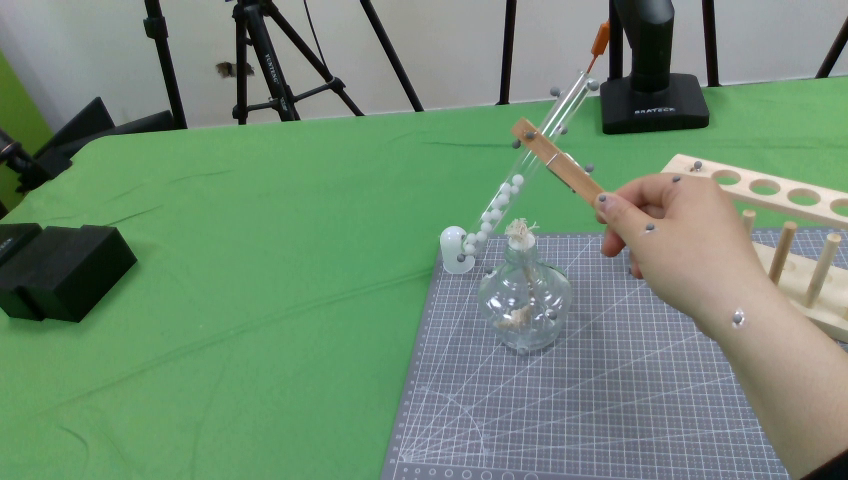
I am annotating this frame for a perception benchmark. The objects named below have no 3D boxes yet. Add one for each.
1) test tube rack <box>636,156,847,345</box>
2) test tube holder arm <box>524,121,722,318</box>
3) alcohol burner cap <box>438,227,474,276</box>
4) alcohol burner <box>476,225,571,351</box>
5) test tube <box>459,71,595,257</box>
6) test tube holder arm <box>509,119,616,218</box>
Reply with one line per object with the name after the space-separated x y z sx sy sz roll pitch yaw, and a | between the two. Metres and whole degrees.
0.295 0.013 0.472 0.240 0.086 0.066 23 51 36 | test tube rack
0.125 -0.018 0.405 0.177 0.015 0.013 47 22 16 | test tube holder arm
0.030 0.008 0.587 0.034 0.048 0.033 -7 40 6 | alcohol burner cap
0.079 0.034 0.486 0.078 0.120 0.077 -7 41 6 | alcohol burner
0.069 -0.050 0.425 0.150 0.017 0.017 -57 39 16 | test tube
0.093 -0.049 0.410 0.087 0.015 0.010 44 21 9 | test tube holder arm
